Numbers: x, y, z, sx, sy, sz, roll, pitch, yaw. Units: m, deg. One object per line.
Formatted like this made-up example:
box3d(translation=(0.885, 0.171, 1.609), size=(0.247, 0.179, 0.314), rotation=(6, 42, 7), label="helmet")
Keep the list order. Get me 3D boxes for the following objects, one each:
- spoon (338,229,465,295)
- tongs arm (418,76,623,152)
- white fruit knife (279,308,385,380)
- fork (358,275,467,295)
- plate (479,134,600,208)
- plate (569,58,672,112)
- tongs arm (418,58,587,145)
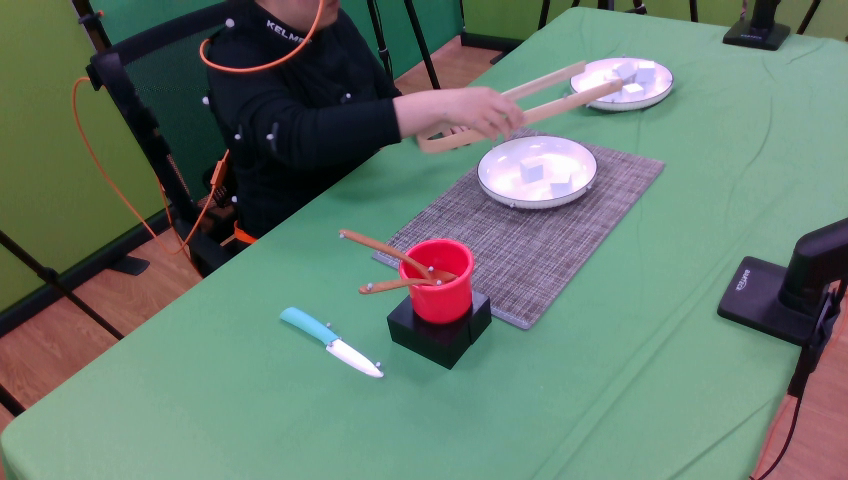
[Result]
box3d(translation=(-0.025, 0.026, 0.776), size=(0.021, 0.195, 0.041), rotation=(-41, 34, 32), label="spoon")
box3d(translation=(0.175, -0.227, 1.066), size=(0.386, 0.026, 0.050), rotation=(-22, 42, -13), label="tongs arm")
box3d(translation=(-0.130, 0.143, 0.845), size=(0.205, 0.016, 0.027), rotation=(25, 79, 32), label="white fruit knife")
box3d(translation=(-0.009, 0.056, 0.739), size=(0.028, 0.018, 0.209), rotation=(48, 23, 26), label="fork")
box3d(translation=(0.202, -0.117, 1.065), size=(0.207, 0.039, 0.206), rotation=(-5, 40, 5), label="plate")
box3d(translation=(0.411, -0.323, 1.274), size=(0.209, 0.038, 0.208), rotation=(-5, 41, 5), label="plate")
box3d(translation=(0.150, -0.259, 1.111), size=(0.389, 0.028, 0.028), rotation=(-26, 47, -18), label="tongs arm")
